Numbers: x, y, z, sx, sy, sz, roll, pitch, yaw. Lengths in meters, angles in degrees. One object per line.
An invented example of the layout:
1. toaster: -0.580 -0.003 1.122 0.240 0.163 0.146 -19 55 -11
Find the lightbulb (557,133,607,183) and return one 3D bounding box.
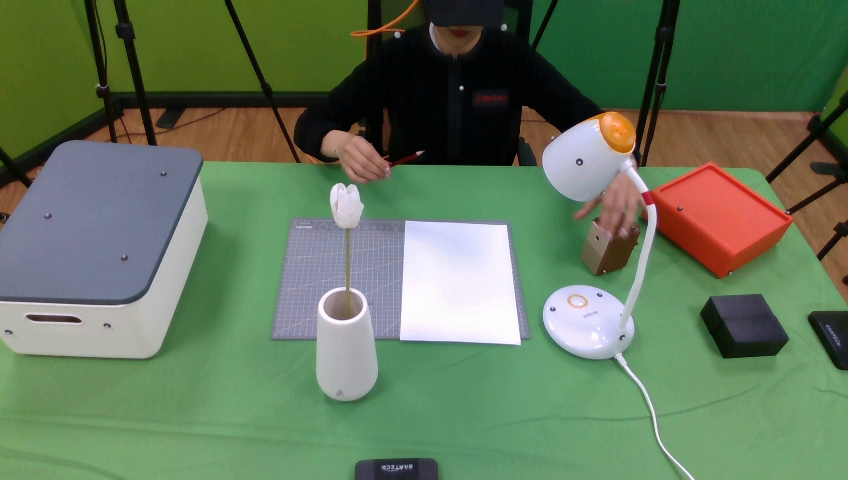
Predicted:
1. lightbulb: 0.243 -0.127 0.916 0.059 0.108 0.059 5 67 -13

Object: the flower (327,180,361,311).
1. flower: -0.110 0.086 0.867 0.044 0.363 0.038 22 33 35

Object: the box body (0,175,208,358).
1. box body: -0.546 0.017 1.045 0.254 0.161 0.361 2 46 -2

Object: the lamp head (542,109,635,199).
1. lamp head: 0.253 -0.131 0.893 0.113 0.123 0.112 10 66 -24

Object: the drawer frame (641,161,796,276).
1. drawer frame: 0.599 -0.051 1.244 0.202 0.083 0.212 -24 52 -25

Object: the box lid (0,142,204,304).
1. box lid: -0.534 -0.044 0.994 0.263 0.015 0.369 3 45 -3

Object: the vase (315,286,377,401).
1. vase: -0.119 0.159 0.911 0.098 0.201 0.097 2 47 -2

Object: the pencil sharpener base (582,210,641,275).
1. pencil sharpener base: 0.357 0.005 1.156 0.077 0.107 0.061 -15 48 -18

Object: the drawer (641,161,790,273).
1. drawer: 0.595 -0.051 1.246 0.194 0.073 0.210 -23 53 -25

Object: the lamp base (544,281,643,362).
1. lamp base: 0.304 0.095 1.014 0.161 0.181 0.178 -24 54 -24

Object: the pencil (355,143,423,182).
1. pencil: -0.071 -0.150 1.173 0.012 0.194 0.012 21 59 -40

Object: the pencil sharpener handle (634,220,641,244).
1. pencil sharpener handle: 0.405 -0.015 1.162 0.031 0.068 0.035 -15 45 -18
